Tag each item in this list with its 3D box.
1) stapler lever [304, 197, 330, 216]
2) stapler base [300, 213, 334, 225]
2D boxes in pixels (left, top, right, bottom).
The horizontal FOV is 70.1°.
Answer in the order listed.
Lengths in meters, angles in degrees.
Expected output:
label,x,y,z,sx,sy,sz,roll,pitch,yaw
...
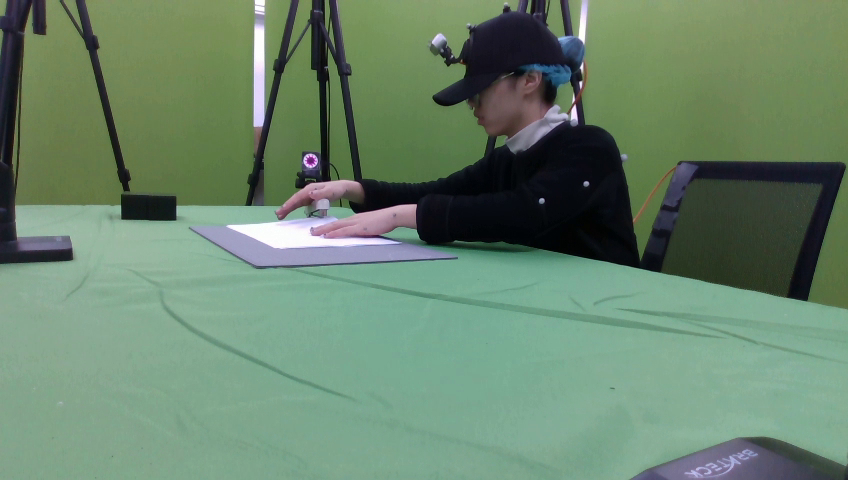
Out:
label,x,y,z,sx,sy,sz,roll,pitch,yaw
stapler lever,-0.224,-0.070,1.266,0.027,0.040,0.117,1,4,-26
stapler base,-0.224,-0.046,1.267,0.041,0.024,0.130,1,3,-26
